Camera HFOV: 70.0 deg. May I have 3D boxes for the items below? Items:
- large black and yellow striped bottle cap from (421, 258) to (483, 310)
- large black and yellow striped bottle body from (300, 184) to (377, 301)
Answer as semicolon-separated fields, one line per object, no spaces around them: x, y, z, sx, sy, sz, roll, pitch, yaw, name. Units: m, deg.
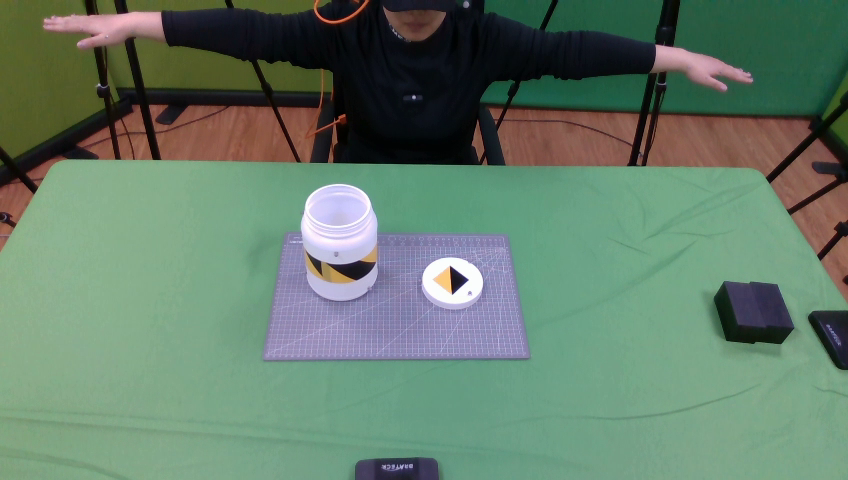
0.053;0.080;1.126;0.115;0.019;0.114;2;45;-1;large black and yellow striped bottle cap
-0.148;0.004;1.067;0.131;0.185;0.130;2;46;-2;large black and yellow striped bottle body
